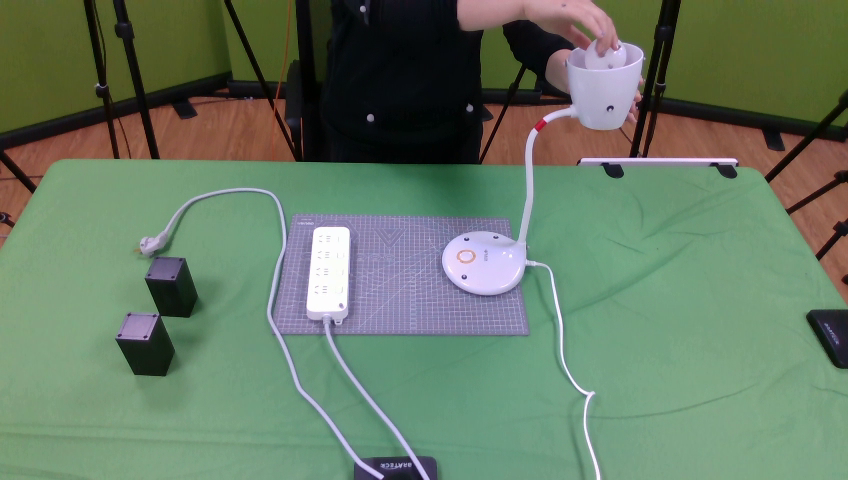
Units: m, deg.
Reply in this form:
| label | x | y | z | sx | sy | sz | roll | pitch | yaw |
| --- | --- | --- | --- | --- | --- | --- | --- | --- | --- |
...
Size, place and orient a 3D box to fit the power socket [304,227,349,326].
| label | x | y | z | sx | sy | sz | roll | pitch | yaw |
| --- | --- | --- | --- | --- | --- | --- | --- | --- | --- |
| power socket | -0.177 | 0.059 | 1.115 | 0.072 | 0.033 | 0.225 | -1 | 46 | -4 |

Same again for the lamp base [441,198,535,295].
| label | x | y | z | sx | sy | sz | roll | pitch | yaw |
| --- | --- | --- | --- | --- | --- | --- | --- | --- | --- |
| lamp base | 0.130 | -0.012 | 1.105 | 0.179 | 0.181 | 0.159 | -1 | 46 | -9 |

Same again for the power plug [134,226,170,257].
| label | x | y | z | sx | sy | sz | roll | pitch | yaw |
| --- | --- | --- | --- | --- | --- | --- | --- | --- | --- |
| power plug | -0.515 | 0.006 | 1.153 | 0.052 | 0.035 | 0.072 | -6 | 24 | 6 |

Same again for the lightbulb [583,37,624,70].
| label | x | y | z | sx | sy | sz | roll | pitch | yaw |
| --- | --- | --- | --- | --- | --- | --- | --- | --- | --- |
| lightbulb | 0.271 | -0.253 | 0.920 | 0.059 | 0.108 | 0.059 | -3 | 34 | 3 |

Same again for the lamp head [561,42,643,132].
| label | x | y | z | sx | sy | sz | roll | pitch | yaw |
| --- | --- | --- | --- | --- | --- | --- | --- | --- | --- |
| lamp head | 0.271 | -0.229 | 0.934 | 0.112 | 0.123 | 0.112 | -2 | 37 | 2 |
